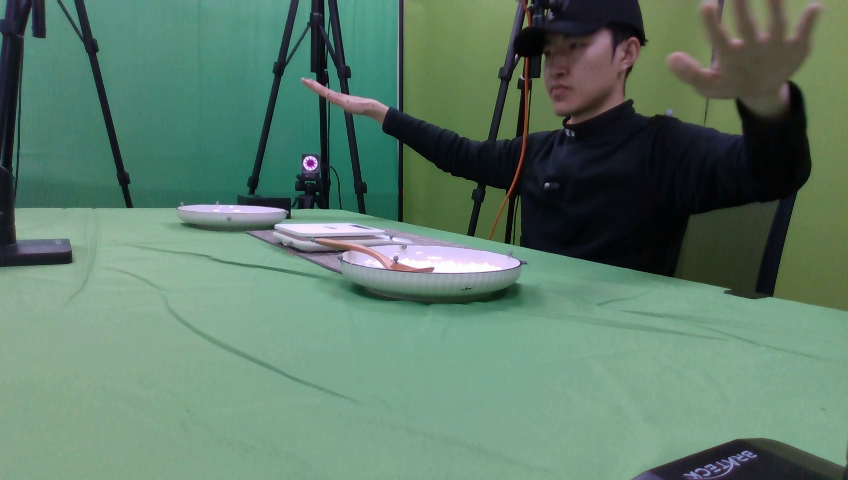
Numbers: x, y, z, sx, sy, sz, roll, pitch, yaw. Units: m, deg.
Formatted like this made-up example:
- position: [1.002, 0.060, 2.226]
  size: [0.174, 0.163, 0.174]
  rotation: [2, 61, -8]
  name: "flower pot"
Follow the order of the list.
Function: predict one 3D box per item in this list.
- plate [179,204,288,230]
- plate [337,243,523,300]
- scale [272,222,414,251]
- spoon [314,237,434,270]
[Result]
- position: [-0.382, -0.046, 1.222]
  size: [0.208, 0.039, 0.207]
  rotation: [2, 7, 0]
  name: "plate"
- position: [0.007, 0.035, 0.688]
  size: [0.209, 0.038, 0.209]
  rotation: [2, 6, 0]
  name: "plate"
- position: [-0.131, -0.008, 0.984]
  size: [0.202, 0.031, 0.148]
  rotation: [-2, 8, -32]
  name: "scale"
- position: [-0.064, 0.015, 0.695]
  size: [0.192, 0.021, 0.042]
  rotation: [18, 17, 42]
  name: "spoon"
